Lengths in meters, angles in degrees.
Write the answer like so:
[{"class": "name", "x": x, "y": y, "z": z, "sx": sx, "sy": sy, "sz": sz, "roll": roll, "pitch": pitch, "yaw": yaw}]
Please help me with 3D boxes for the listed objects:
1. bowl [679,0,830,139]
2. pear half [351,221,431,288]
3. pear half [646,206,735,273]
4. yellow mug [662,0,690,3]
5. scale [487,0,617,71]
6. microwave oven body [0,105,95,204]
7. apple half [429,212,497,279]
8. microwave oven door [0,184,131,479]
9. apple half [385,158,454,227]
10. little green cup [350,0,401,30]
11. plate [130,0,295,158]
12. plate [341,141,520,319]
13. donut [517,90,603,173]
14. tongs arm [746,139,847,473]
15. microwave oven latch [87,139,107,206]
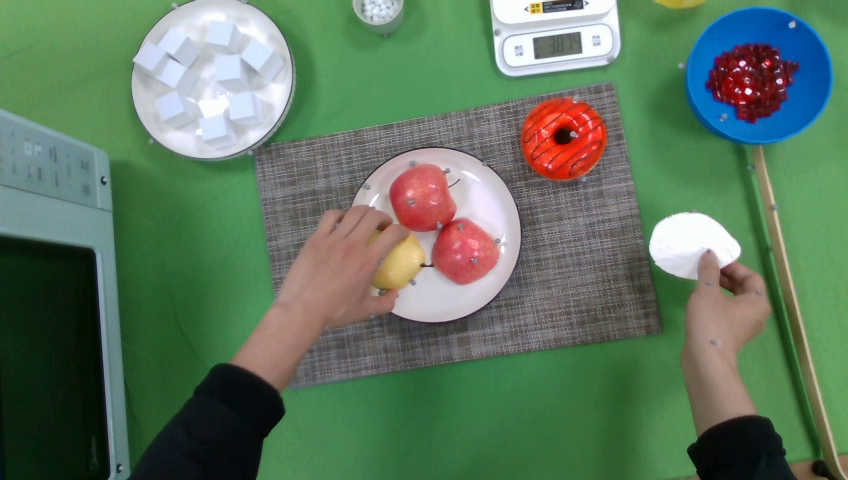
[{"class": "bowl", "x": 0.355, "y": -0.180, "z": 0.679, "sx": 0.151, "sy": 0.077, "sz": 0.151, "roll": 0, "pitch": 86, "yaw": 5}, {"class": "pear half", "x": -0.039, "y": 0.016, "z": 0.671, "sx": 0.109, "sy": 0.056, "sz": 0.076, "roll": 3, "pitch": 87, "yaw": 46}, {"class": "pear half", "x": 0.289, "y": -0.001, "z": 0.658, "sx": 0.087, "sy": 0.031, "sz": 0.070, "roll": 9, "pitch": 100, "yaw": 24}, {"class": "yellow mug", "x": 0.292, "y": -0.349, "z": 0.703, "sx": 0.100, "sy": 0.064, "sz": 0.130, "roll": -42, "pitch": 82, "yaw": 2}, {"class": "scale", "x": 0.149, "y": -0.311, "z": 0.730, "sx": 0.148, "sy": 0.031, "sz": 0.200, "roll": -5, "pitch": 86, "yaw": 5}, {"class": "microwave oven body", "x": -0.546, "y": 0.103, "z": 0.645, "sx": 0.326, "sy": 0.261, "sz": 0.440, "roll": -7, "pitch": 86, "yaw": 4}, {"class": "apple half", "x": 0.043, "y": 0.008, "z": 0.705, "sx": 0.081, "sy": 0.033, "sz": 0.081, "roll": -1, "pitch": 85, "yaw": 6}, {"class": "microwave oven door", "x": -0.397, "y": 0.126, "z": 0.624, "sx": 0.039, "sy": 0.244, "sz": 0.355, "roll": -8, "pitch": 85, "yaw": 5}, {"class": "apple half", "x": -0.007, "y": -0.055, "z": 0.702, "sx": 0.074, "sy": 0.053, "sz": 0.080, "roll": -16, "pitch": 87, "yaw": 6}, {"class": "little green cup", "x": -0.057, "y": -0.291, "z": 0.745, "sx": 0.061, "sy": 0.039, "sz": 0.061, "roll": -1, "pitch": 85, "yaw": 6}, {"class": "plate", "x": -0.260, "y": -0.202, "z": 0.757, "sx": 0.207, "sy": 0.039, "sz": 0.207, "roll": 0, "pitch": 85, "yaw": 5}, {"class": "plate", "x": 0.008, "y": -0.011, "z": 0.715, "sx": 0.209, "sy": 0.038, "sz": 0.208, "roll": 0, "pitch": 86, "yaw": 5}, {"class": "donut", "x": 0.157, "y": -0.126, "z": 0.706, "sx": 0.099, "sy": 0.048, "sz": 0.099, "roll": 0, "pitch": 87, "yaw": 8}, {"class": "tongs arm", "x": 0.426, "y": 0.071, "z": 0.675, "sx": 0.051, "sy": 0.026, "sz": 0.384, "roll": -10, "pitch": 86, "yaw": -1}, {"class": "microwave oven latch", "x": -0.410, "y": -0.082, "z": 0.743, "sx": 0.030, "sy": 0.029, "sz": 0.079, "roll": -6, "pitch": 86, "yaw": 4}]
